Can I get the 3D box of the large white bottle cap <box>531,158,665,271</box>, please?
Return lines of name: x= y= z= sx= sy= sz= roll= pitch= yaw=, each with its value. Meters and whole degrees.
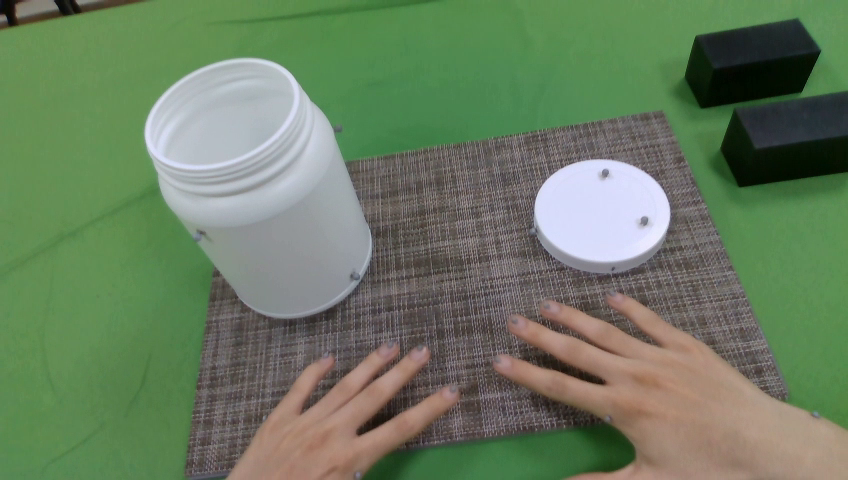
large white bottle cap: x=0.152 y=-0.025 z=0.535 sx=0.115 sy=0.018 sz=0.113 roll=-4 pitch=55 yaw=6

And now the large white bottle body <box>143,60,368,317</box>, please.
large white bottle body: x=-0.126 y=-0.035 z=0.483 sx=0.130 sy=0.186 sz=0.129 roll=-5 pitch=54 yaw=7
